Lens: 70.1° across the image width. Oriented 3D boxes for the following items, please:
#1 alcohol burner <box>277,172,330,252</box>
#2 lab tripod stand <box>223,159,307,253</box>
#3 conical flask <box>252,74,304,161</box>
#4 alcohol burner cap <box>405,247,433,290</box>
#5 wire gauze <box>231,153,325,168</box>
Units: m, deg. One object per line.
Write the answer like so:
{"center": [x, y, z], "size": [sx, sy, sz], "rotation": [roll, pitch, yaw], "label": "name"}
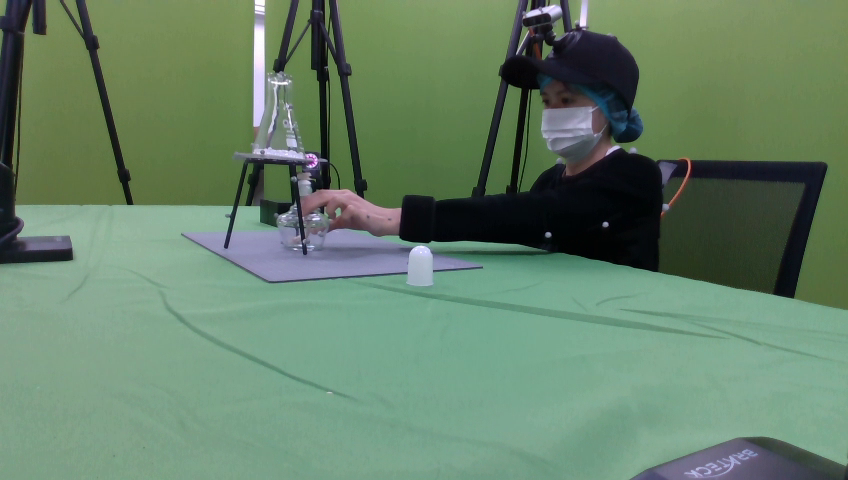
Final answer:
{"center": [-0.180, -0.042, 0.904], "size": [0.078, 0.119, 0.078], "rotation": [1, 9, 0], "label": "alcohol burner"}
{"center": [-0.220, -0.053, 0.896], "size": [0.148, 0.131, 0.148], "rotation": [1, 5, 0], "label": "lab tripod stand"}
{"center": [-0.211, -0.177, 0.879], "size": [0.075, 0.122, 0.075], "rotation": [3, 6, 0], "label": "conical flask"}
{"center": [-0.005, 0.031, 0.698], "size": [0.034, 0.048, 0.034], "rotation": [3, 8, 0], "label": "alcohol burner cap"}
{"center": [-0.215, -0.117, 0.882], "size": [0.125, 0.011, 0.121], "rotation": [3, 7, -19], "label": "wire gauze"}
